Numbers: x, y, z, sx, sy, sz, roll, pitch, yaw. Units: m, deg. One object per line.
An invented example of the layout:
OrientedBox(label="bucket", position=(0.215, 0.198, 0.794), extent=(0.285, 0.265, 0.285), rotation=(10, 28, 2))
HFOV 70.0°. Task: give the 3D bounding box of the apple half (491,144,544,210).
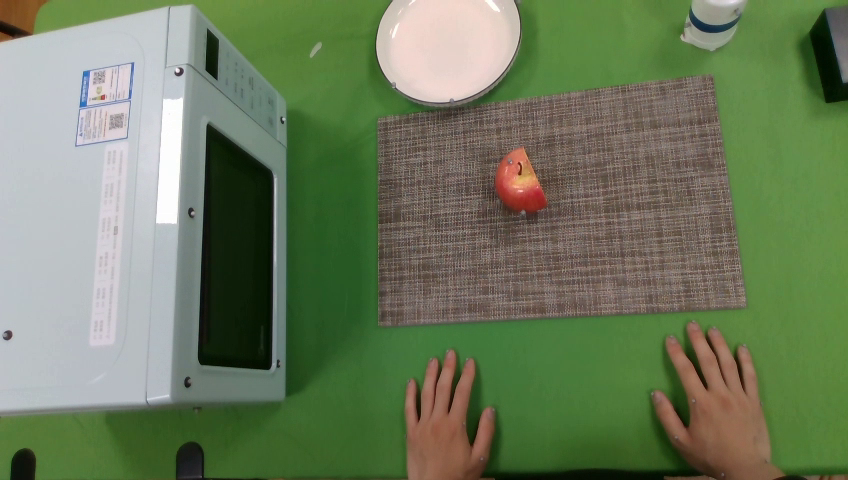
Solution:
OrientedBox(label="apple half", position=(0.113, -0.073, 0.765), extent=(0.053, 0.075, 0.080), rotation=(-25, 76, 11))

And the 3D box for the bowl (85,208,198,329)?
OrientedBox(label="bowl", position=(-0.352, 0.039, 0.789), extent=(0.151, 0.077, 0.151), rotation=(-1, 87, 18))

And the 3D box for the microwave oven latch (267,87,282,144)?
OrientedBox(label="microwave oven latch", position=(-0.221, -0.178, 0.870), extent=(0.030, 0.030, 0.079), rotation=(-6, 76, 11))

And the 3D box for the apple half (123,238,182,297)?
OrientedBox(label="apple half", position=(-0.354, 0.036, 0.779), extent=(0.081, 0.033, 0.081), rotation=(0, 89, 5))

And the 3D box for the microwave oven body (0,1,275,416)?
OrientedBox(label="microwave oven body", position=(-0.378, -0.013, 0.766), extent=(0.325, 0.262, 0.439), rotation=(-6, 76, 11))

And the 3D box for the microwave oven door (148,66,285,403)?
OrientedBox(label="microwave oven door", position=(-0.235, 0.010, 0.722), extent=(0.039, 0.245, 0.354), rotation=(-7, 75, 12))

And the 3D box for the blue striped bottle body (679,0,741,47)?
OrientedBox(label="blue striped bottle body", position=(0.353, -0.294, 0.739), extent=(0.063, 0.121, 0.063), rotation=(-3, 76, 13))

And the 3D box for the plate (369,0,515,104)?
OrientedBox(label="plate", position=(0.026, -0.284, 0.858), extent=(0.207, 0.039, 0.206), rotation=(-3, 77, 12))
